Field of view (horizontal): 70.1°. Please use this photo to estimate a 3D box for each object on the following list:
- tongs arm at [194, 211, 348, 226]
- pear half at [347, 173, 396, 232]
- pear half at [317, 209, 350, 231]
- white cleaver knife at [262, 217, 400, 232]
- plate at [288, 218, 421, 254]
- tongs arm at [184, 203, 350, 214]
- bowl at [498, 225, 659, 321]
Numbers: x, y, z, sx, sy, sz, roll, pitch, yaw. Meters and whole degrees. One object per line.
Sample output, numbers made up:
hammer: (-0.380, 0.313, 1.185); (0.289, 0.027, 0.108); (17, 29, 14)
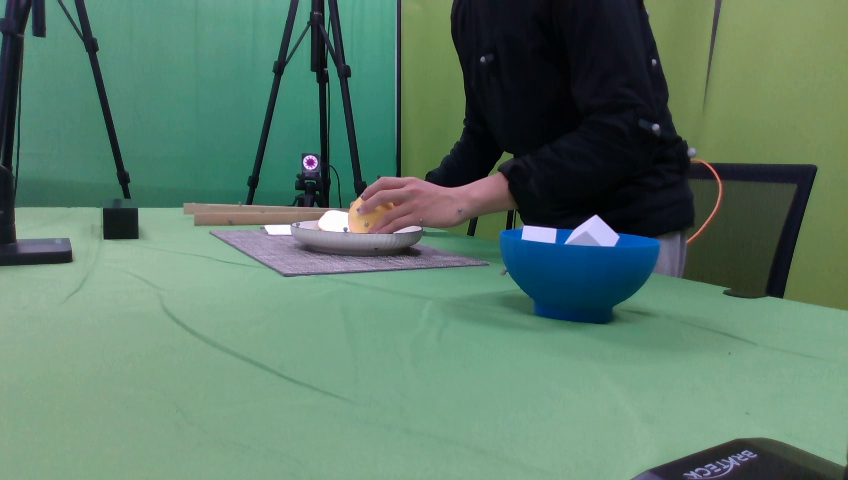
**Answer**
tongs arm: (-0.298, -0.049, 1.307); (0.390, 0.028, 0.028); (-3, 8, -37)
pear half: (-0.072, -0.046, 0.921); (0.077, 0.110, 0.055); (-18, 34, -41)
pear half: (-0.144, -0.021, 1.012); (0.071, 0.031, 0.087); (-3, 26, -25)
white cleaver knife: (-0.167, -0.024, 1.153); (0.288, 0.021, 0.065); (-5, 18, -33)
plate: (-0.109, -0.007, 0.956); (0.208, 0.039, 0.207); (2, 7, 0)
tongs arm: (-0.337, -0.065, 1.376); (0.387, 0.026, 0.050); (0, 10, -25)
bowl: (0.144, 0.031, 0.585); (0.151, 0.077, 0.151); (2, 7, 0)
